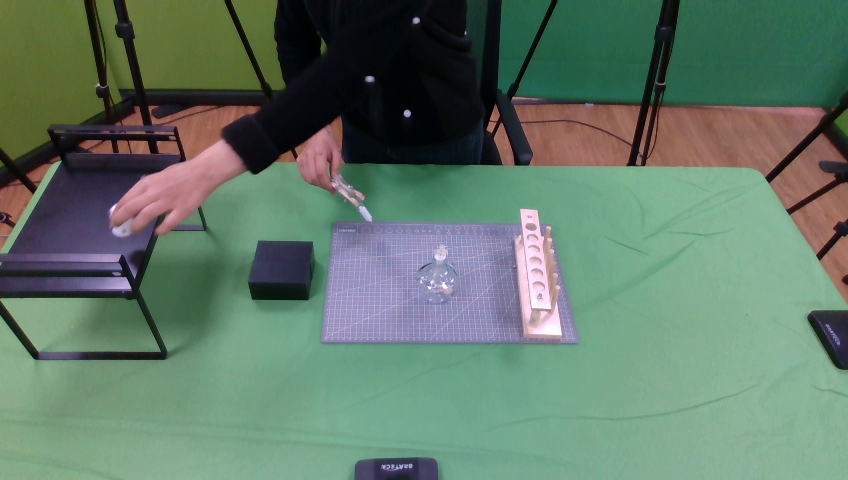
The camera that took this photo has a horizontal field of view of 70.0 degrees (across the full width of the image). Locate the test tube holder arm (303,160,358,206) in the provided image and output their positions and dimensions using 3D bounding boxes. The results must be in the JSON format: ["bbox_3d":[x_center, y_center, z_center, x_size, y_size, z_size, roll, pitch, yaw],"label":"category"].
[{"bbox_3d":[-0.181,-0.111,1.154,0.013,0.015,0.177,-44,53,-14],"label":"test tube holder arm"}]

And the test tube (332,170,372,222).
[{"bbox_3d":[-0.131,-0.079,1.121,0.017,0.151,0.017,-10,55,16],"label":"test tube"}]

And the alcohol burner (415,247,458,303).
[{"bbox_3d":[0.024,0.057,1.078,0.078,0.119,0.077,3,44,-2],"label":"alcohol burner"}]

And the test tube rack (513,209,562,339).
[{"bbox_3d":[0.212,0.056,1.113,0.067,0.085,0.241,3,46,-1],"label":"test tube rack"}]

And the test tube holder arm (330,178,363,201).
[{"bbox_3d":[-0.147,-0.095,1.130,0.087,0.015,0.010,27,69,34],"label":"test tube holder arm"}]

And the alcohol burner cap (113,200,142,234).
[{"bbox_3d":[-0.432,-0.036,0.879,0.034,0.048,0.033,5,45,-5],"label":"alcohol burner cap"}]
